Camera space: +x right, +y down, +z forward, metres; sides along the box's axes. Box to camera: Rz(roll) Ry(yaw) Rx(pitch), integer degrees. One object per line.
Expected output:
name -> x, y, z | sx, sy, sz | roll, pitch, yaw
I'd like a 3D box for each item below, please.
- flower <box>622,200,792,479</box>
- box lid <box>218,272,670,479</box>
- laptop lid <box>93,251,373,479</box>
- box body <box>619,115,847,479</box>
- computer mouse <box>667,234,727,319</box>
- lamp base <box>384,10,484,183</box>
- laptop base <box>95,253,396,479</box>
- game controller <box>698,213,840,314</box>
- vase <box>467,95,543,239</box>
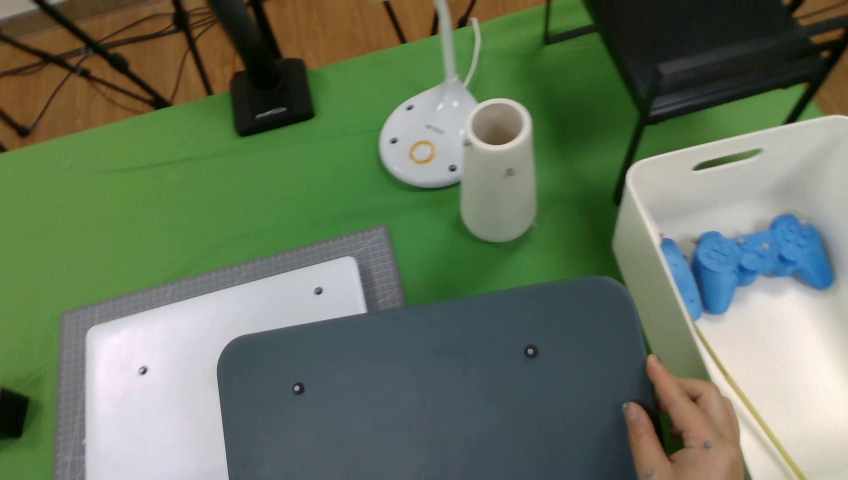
flower -> 0.317, 0.114, 0.664 | 0.044, 0.038, 0.359 | -5, 65, -46
box lid -> 0.001, 0.182, 0.497 | 0.371, 0.015, 0.262 | -12, 83, 15
laptop lid -> -0.225, 0.157, 0.725 | 0.357, 0.013, 0.239 | -13, 65, 0
box body -> 0.380, 0.080, 0.624 | 0.254, 0.162, 0.360 | -13, 63, 1
computer mouse -> 0.300, 0.041, 0.714 | 0.063, 0.041, 0.116 | -23, 53, 1
lamp base -> 0.018, -0.195, 0.795 | 0.160, 0.182, 0.178 | 16, 64, 14
laptop base -> -0.224, 0.160, 0.737 | 0.354, 0.023, 0.233 | -15, 66, -1
game controller -> 0.400, 0.023, 0.710 | 0.155, 0.052, 0.096 | -12, 61, -1
vase -> 0.094, -0.081, 0.719 | 0.098, 0.202, 0.097 | -4, 62, 7
